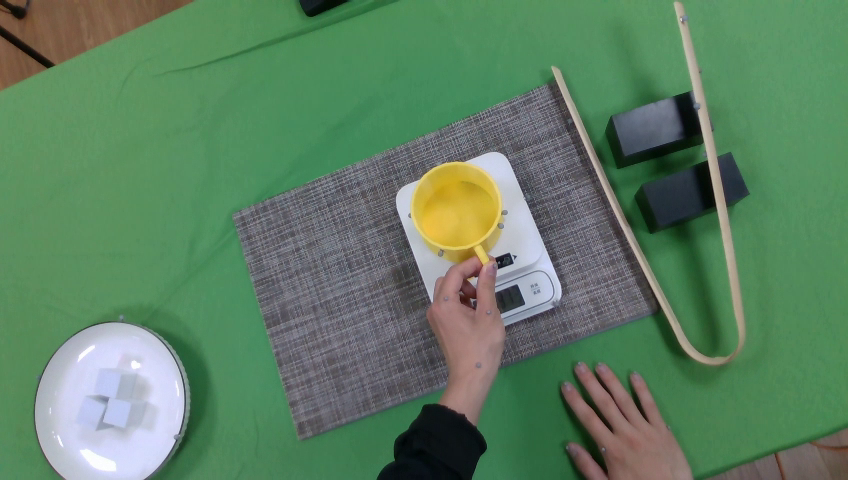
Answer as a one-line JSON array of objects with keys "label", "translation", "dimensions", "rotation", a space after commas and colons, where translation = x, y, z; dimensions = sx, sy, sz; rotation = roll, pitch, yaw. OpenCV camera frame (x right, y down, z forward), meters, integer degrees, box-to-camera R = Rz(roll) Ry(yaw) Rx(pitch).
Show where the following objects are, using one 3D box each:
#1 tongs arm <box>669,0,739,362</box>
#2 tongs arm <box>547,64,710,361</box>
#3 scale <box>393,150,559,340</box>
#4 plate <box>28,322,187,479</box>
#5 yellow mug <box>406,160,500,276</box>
[{"label": "tongs arm", "translation": [0.289, -0.064, 0.652], "dimensions": [0.050, 0.026, 0.384], "rotation": [-14, 85, 34]}, {"label": "tongs arm", "translation": [0.227, -0.040, 0.699], "dimensions": [0.028, 0.028, 0.385], "rotation": [-29, 76, 28]}, {"label": "scale", "translation": [0.058, 0.004, 0.717], "dimensions": [0.148, 0.032, 0.200], "rotation": [-22, 79, 6]}, {"label": "plate", "translation": [-0.389, 0.207, 0.758], "dimensions": [0.207, 0.039, 0.207], "rotation": [-1, 81, 8]}, {"label": "yellow mug", "translation": [0.042, -0.018, 0.672], "dimensions": [0.100, 0.064, 0.130], "rotation": [-29, 77, 1]}]
